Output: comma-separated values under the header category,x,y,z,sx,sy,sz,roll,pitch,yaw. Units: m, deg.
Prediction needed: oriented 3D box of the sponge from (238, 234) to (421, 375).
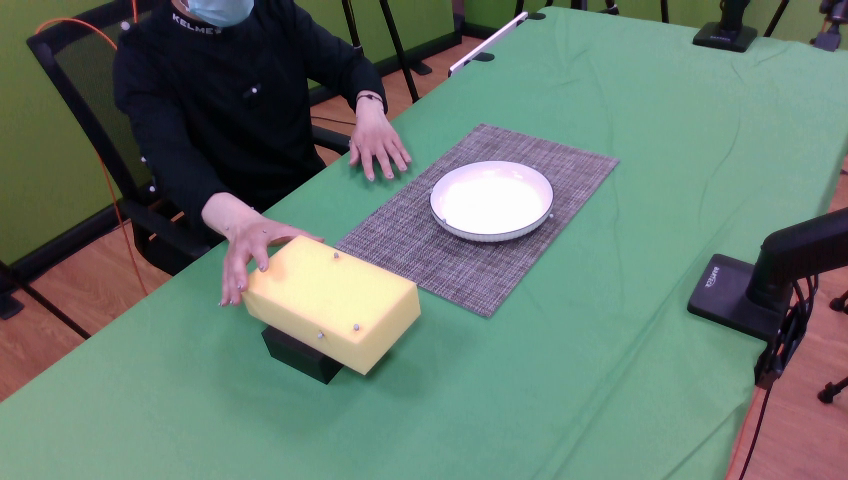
category,x,y,z,sx,sy,sz,roll,pitch,yaw
sponge,-0.123,0.077,0.791,0.205,0.061,0.118,21,48,28

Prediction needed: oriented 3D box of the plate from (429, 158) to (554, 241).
category,x,y,z,sx,sy,sz,roll,pitch,yaw
plate,0.112,-0.065,1.011,0.207,0.039,0.206,-4,41,4
